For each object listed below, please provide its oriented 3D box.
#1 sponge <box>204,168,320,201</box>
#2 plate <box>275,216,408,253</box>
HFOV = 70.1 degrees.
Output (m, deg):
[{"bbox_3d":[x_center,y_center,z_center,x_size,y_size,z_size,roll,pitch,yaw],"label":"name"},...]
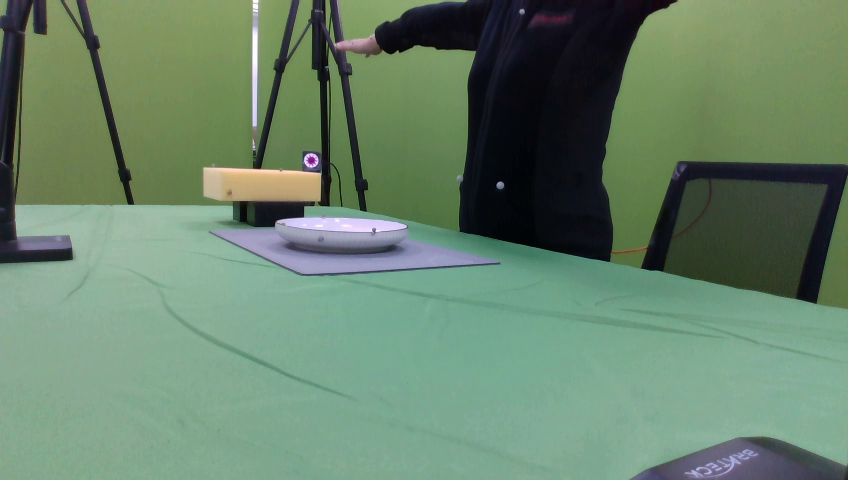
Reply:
[{"bbox_3d":[-0.333,-0.114,1.247,0.208,0.061,0.117,-3,9,-36],"label":"sponge"},{"bbox_3d":[-0.129,-0.009,0.954,0.209,0.038,0.209,2,7,0],"label":"plate"}]
